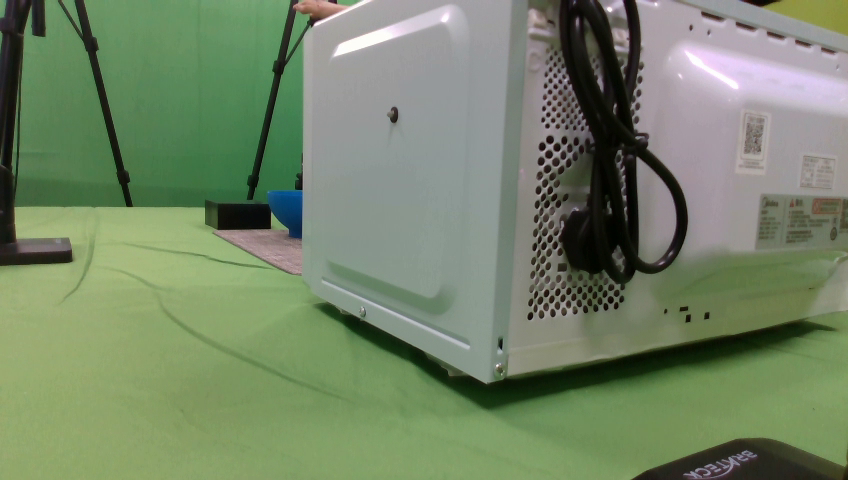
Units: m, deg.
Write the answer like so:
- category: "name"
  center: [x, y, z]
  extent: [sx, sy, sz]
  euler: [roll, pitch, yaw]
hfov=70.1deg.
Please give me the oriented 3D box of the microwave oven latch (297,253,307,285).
- category: "microwave oven latch"
  center: [-0.082, 0.027, 0.583]
  extent: [0.079, 0.029, 0.030]
  euler: [-1, 7, -33]

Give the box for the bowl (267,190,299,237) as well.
- category: "bowl"
  center: [-0.202, -0.046, 1.070]
  extent: [0.151, 0.077, 0.151]
  euler: [3, 7, 0]

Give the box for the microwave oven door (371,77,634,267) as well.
- category: "microwave oven door"
  center: [0.096, -0.099, 0.837]
  extent: [0.355, 0.243, 0.039]
  euler: [5, 8, 20]

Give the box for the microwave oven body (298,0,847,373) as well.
- category: "microwave oven body"
  center: [0.151, -0.055, 0.543]
  extent: [0.444, 0.260, 0.324]
  euler: [-1, 7, -33]
